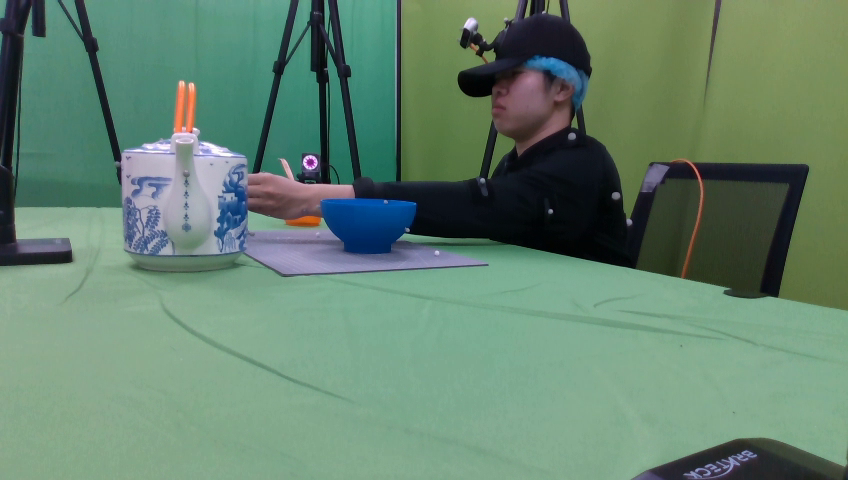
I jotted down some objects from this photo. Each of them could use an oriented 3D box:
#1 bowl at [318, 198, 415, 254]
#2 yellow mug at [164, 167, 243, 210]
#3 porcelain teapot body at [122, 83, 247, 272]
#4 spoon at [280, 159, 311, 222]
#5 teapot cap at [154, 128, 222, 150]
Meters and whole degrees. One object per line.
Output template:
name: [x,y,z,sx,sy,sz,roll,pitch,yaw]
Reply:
bowl: [-0.089,-0.022,0.941,0.151,0.077,0.151,2,7,0]
yellow mug: [-0.371,-0.086,1.027,0.131,0.064,0.100,6,7,5]
porcelain teapot body: [-0.286,-0.075,0.733,0.146,0.225,0.204,0,8,-24]
spoon: [-0.285,-0.111,1.320,0.042,0.193,0.021,-3,-35,-31]
teapot cap: [-0.294,-0.117,0.754,0.085,0.044,0.085,4,9,0]
